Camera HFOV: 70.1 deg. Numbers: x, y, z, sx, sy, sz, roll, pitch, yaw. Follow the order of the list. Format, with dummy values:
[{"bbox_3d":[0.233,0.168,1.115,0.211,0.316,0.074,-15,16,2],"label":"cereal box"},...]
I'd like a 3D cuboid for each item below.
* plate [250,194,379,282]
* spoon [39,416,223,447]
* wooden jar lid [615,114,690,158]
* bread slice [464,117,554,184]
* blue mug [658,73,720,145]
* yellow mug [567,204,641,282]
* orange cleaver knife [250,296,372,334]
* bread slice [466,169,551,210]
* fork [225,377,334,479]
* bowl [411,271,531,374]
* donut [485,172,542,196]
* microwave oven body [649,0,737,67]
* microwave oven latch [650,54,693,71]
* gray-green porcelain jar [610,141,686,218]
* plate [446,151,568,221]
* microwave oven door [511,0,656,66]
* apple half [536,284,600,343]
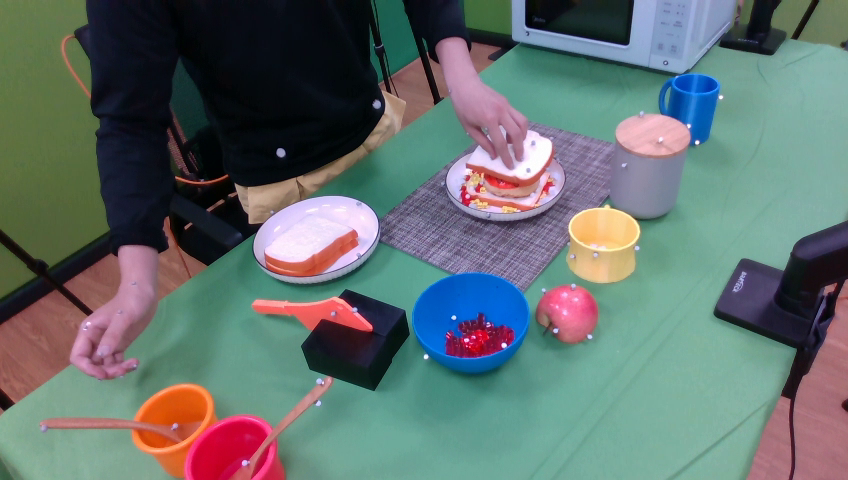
[{"bbox_3d":[-0.174,-0.001,0.984,0.209,0.038,0.208,-3,40,3],"label":"plate"},{"bbox_3d":[-0.320,0.209,0.677,0.021,0.195,0.041,-53,41,15],"label":"spoon"},{"bbox_3d":[0.347,-0.155,0.923,0.108,0.021,0.108,-3,43,4],"label":"wooden jar lid"},{"bbox_3d":[0.145,-0.146,0.987,0.130,0.019,0.105,26,71,30],"label":"bread slice"},{"bbox_3d":[0.483,-0.250,1.127,0.082,0.106,0.115,-26,44,-19],"label":"blue mug"},{"bbox_3d":[0.268,-0.005,0.905,0.099,0.064,0.130,7,42,15],"label":"yellow mug"},{"bbox_3d":[-0.158,0.103,0.828,0.210,0.078,0.012,-4,43,39],"label":"orange cleaver knife"},{"bbox_3d":[0.141,-0.093,1.042,0.133,0.018,0.107,8,42,20],"label":"bread slice"},{"bbox_3d":[-0.163,0.216,0.646,0.207,0.019,0.028,-49,41,16],"label":"fork"},{"bbox_3d":[0.062,0.119,0.780,0.151,0.077,0.150,-4,40,4],"label":"bowl"},{"bbox_3d":[0.151,-0.111,1.021,0.099,0.048,0.098,-4,38,4],"label":"donut"},{"bbox_3d":[0.475,-0.602,1.411,0.438,0.261,0.327,23,50,32],"label":"microwave oven body"},{"bbox_3d":[0.531,-0.386,1.301,0.078,0.029,0.030,26,51,33],"label":"microwave oven latch"},{"bbox_3d":[0.354,-0.106,0.964,0.106,0.127,0.105,-4,41,4],"label":"gray-green porcelain jar"},{"bbox_3d":[0.142,-0.097,1.045,0.207,0.039,0.206,-4,40,4],"label":"plate"},{"bbox_3d":[0.350,-0.539,1.348,0.353,0.245,0.039,24,50,31],"label":"microwave oven door"},{"bbox_3d":[0.196,0.091,0.815,0.075,0.053,0.080,-22,42,-20],"label":"apple half"}]
